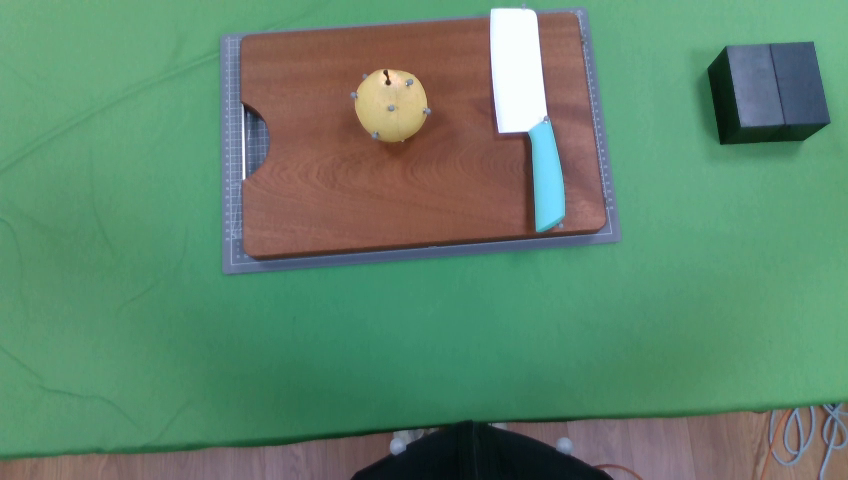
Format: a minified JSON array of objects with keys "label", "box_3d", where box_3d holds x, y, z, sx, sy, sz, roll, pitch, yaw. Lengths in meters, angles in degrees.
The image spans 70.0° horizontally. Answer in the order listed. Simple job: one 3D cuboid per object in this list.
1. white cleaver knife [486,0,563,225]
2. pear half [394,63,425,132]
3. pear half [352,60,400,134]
[{"label":"white cleaver knife","box_3d":[0.111,-0.152,0.685,0.066,0.022,0.284,-5,73,4]},{"label":"pear half","box_3d":[-0.015,-0.154,0.646,0.031,0.088,0.070,-1,72,0]},{"label":"pear half","box_3d":[-0.050,-0.158,0.637,0.056,0.110,0.076,-2,73,1]}]
